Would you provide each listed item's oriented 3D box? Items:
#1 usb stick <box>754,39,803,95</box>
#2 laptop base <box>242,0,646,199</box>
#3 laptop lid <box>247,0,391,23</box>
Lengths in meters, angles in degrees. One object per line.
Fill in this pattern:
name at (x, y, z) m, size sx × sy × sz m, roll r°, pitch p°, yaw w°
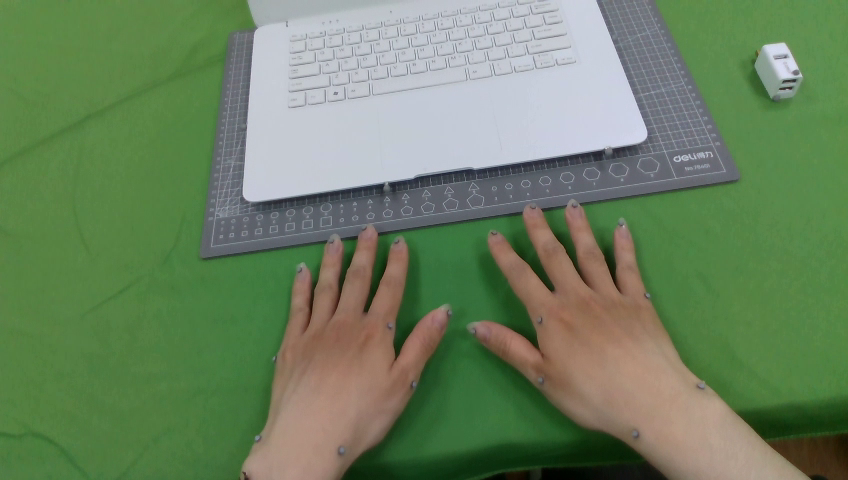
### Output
usb stick at (0.312, -0.159, 0.539) m, size 0.021 × 0.027 × 0.058 m, roll -6°, pitch 54°, yaw 5°
laptop base at (0.005, -0.155, 0.581) m, size 0.354 × 0.023 × 0.233 m, roll -8°, pitch 60°, yaw 2°
laptop lid at (-0.023, -0.342, 0.570) m, size 0.357 × 0.244 × 0.013 m, roll -10°, pitch 39°, yaw 3°
